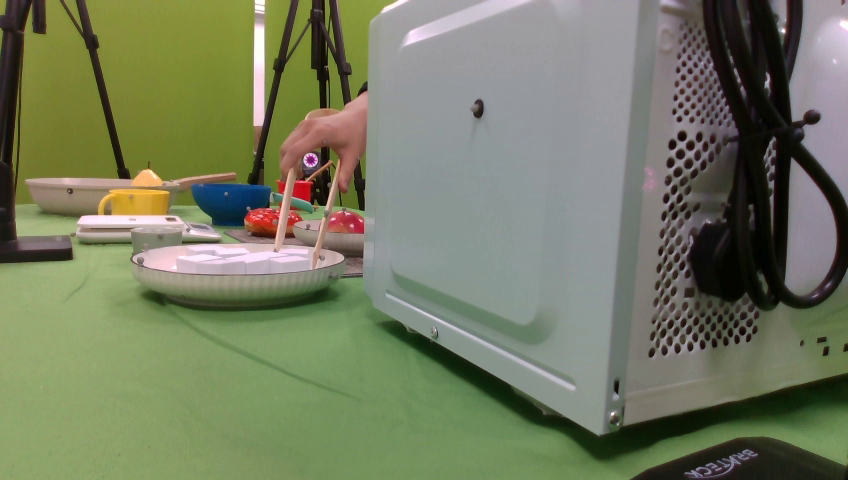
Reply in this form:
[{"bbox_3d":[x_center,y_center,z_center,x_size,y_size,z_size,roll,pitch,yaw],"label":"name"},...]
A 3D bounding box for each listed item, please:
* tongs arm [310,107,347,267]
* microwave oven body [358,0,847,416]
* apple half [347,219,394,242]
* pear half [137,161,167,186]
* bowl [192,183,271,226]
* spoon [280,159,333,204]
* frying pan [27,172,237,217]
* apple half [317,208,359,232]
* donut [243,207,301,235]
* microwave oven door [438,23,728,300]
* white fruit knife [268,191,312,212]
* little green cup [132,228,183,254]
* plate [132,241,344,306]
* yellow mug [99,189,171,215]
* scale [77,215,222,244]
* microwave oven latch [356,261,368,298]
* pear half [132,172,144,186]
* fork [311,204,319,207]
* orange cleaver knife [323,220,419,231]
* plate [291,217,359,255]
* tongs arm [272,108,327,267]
[{"bbox_3d":[-0.136,-0.089,0.806,0.051,0.026,0.384,3,35,0],"label":"tongs arm"},{"bbox_3d":[0.211,-0.047,0.475,0.444,0.260,0.324,-1,7,-28],"label":"microwave oven body"},{"bbox_3d":[-0.084,-0.018,0.967,0.081,0.033,0.081,6,10,-1],"label":"apple half"},{"bbox_3d":[-0.602,-0.120,1.354,0.056,0.110,0.076,4,11,6],"label":"pear half"},{"bbox_3d":[-0.382,-0.071,1.202,0.151,0.077,0.151,3,7,0],"label":"bowl"},{"bbox_3d":[-0.317,-0.159,1.640,0.194,0.022,0.041,-49,32,-20],"label":"spoon"},{"bbox_3d":[-0.624,-0.118,1.387,0.305,0.102,0.490,8,17,32],"label":"frying pan"},{"bbox_3d":[-0.122,-0.020,0.900,0.080,0.053,0.075,4,10,15],"label":"apple half"},{"bbox_3d":[-0.261,-0.032,1.043,0.099,0.048,0.099,4,9,0],"label":"donut"},{"bbox_3d":[0.181,-0.073,0.621,0.358,0.243,0.039,-2,8,-29],"label":"microwave oven door"},{"bbox_3d":[-0.364,-0.105,1.464,0.208,0.027,0.016,15,0,-34],"label":"white fruit knife"},{"bbox_3d":[-0.342,0.006,0.779,0.061,0.038,0.061,2,8,0],"label":"little green cup"},{"bbox_3d":[-0.187,0.033,0.625,0.208,0.039,0.207,2,8,0],"label":"plate"},{"bbox_3d":[-0.519,-0.055,1.080,0.099,0.064,0.131,7,9,26],"label":"yellow mug"},{"bbox_3d":[-0.434,-0.019,0.963,0.202,0.031,0.148,-1,9,-27],"label":"scale"},{"bbox_3d":[-0.019,0.033,0.530,0.079,0.029,0.030,0,7,-26],"label":"microwave oven latch"},{"bbox_3d":[-0.638,-0.113,1.361,0.031,0.088,0.070,5,11,4],"label":"pear half"},{"bbox_3d":[-0.356,-0.105,1.526,0.208,0.018,0.028,16,-5,-41],"label":"fork"},{"bbox_3d":[-0.096,-0.027,1.152,0.077,0.012,0.212,2,7,41],"label":"orange cleaver knife"},{"bbox_3d":[-0.098,-0.007,0.928,0.209,0.038,0.209,3,8,0],"label":"plate"},{"bbox_3d":[-0.162,-0.090,0.804,0.028,0.028,0.386,-2,35,-1],"label":"tongs arm"}]
